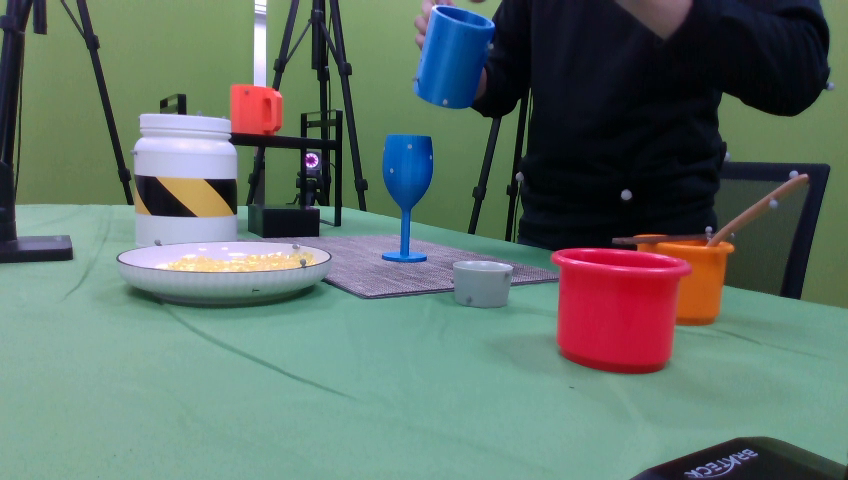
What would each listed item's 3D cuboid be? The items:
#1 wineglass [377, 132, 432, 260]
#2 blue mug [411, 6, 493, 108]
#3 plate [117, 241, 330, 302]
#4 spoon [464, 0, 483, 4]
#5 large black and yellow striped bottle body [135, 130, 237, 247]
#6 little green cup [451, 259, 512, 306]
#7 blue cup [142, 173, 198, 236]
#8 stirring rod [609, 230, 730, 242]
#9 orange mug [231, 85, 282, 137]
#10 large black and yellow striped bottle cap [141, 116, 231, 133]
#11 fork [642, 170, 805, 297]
[{"bbox_3d":[-0.026,-0.062,0.841,0.074,0.172,0.073,2,7,0],"label":"wineglass"},{"bbox_3d":[0.027,-0.245,0.791,0.083,0.106,0.116,-4,37,-29],"label":"blue mug"},{"bbox_3d":[-0.203,0.031,0.630,0.209,0.038,0.209,3,7,0],"label":"plate"},{"bbox_3d":[0.099,-0.341,0.659,0.041,0.193,0.021,40,32,-3],"label":"spoon"},{"bbox_3d":[-0.327,-0.074,0.838,0.131,0.184,0.130,2,7,0],"label":"large black and yellow striped bottle body"},{"bbox_3d":[0.057,0.043,0.612,0.061,0.038,0.061,3,7,0],"label":"little green cup"},{"bbox_3d":[-0.425,-0.060,1.014,0.093,0.100,0.092,4,9,0],"label":"blue cup"},{"bbox_3d":[0.241,-0.004,0.582,0.177,0.006,0.014,-3,10,-33],"label":"stirring rod"},{"bbox_3d":[-0.335,-0.261,1.225,0.125,0.100,0.084,2,6,35],"label":"orange mug"},{"bbox_3d":[-0.324,-0.157,0.826,0.115,0.019,0.115,1,7,0],"label":"large black and yellow striped bottle cap"},{"bbox_3d":[0.261,0.004,0.545,0.028,0.018,0.207,5,-37,-15],"label":"fork"}]
